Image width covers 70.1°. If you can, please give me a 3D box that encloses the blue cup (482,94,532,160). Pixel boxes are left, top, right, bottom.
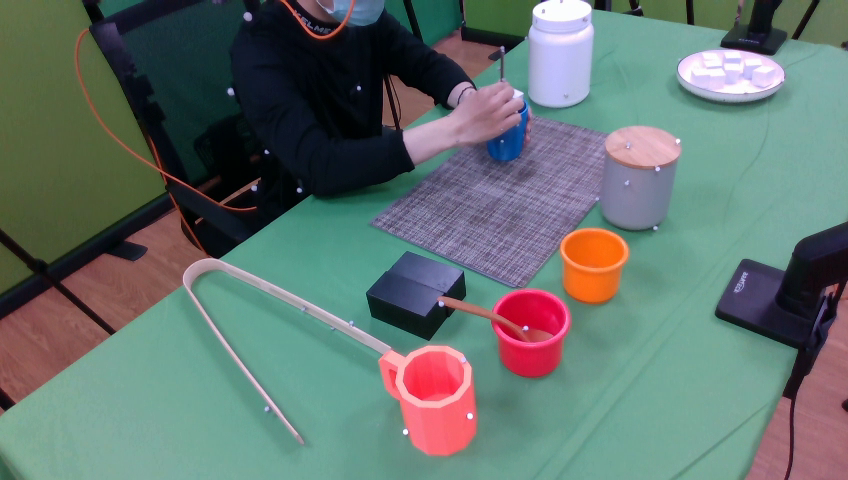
[{"bbox_3d":[0.152,-0.208,1.129,0.092,0.100,0.092,-4,39,4],"label":"blue cup"}]

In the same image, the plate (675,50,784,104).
[{"bbox_3d":[0.632,-0.336,1.262,0.207,0.039,0.206,-4,41,4],"label":"plate"}]

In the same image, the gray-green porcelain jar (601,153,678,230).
[{"bbox_3d":[0.334,-0.087,0.949,0.106,0.127,0.105,-4,40,4],"label":"gray-green porcelain jar"}]

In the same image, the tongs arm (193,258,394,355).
[{"bbox_3d":[-0.204,0.100,0.881,0.382,0.027,0.051,23,55,32],"label":"tongs arm"}]

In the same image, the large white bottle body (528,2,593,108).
[{"bbox_3d":[0.283,-0.386,1.259,0.130,0.185,0.130,-5,41,4],"label":"large white bottle body"}]

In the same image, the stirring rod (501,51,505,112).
[{"bbox_3d":[0.139,-0.247,1.068,0.006,0.177,0.014,2,38,9],"label":"stirring rod"}]

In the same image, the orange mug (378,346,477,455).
[{"bbox_3d":[0.002,0.179,0.708,0.125,0.101,0.083,25,50,27],"label":"orange mug"}]

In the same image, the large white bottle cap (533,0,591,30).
[{"bbox_3d":[0.274,-0.449,1.204,0.115,0.018,0.114,-4,41,4],"label":"large white bottle cap"}]

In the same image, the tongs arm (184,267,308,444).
[{"bbox_3d":[-0.259,0.148,0.843,0.028,0.028,0.384,-38,49,-18],"label":"tongs arm"}]

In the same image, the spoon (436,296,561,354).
[{"bbox_3d":[0.096,0.102,0.750,0.195,0.021,0.041,28,31,-28],"label":"spoon"}]

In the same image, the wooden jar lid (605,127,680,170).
[{"bbox_3d":[0.327,-0.134,0.909,0.108,0.021,0.108,-2,43,2],"label":"wooden jar lid"}]
